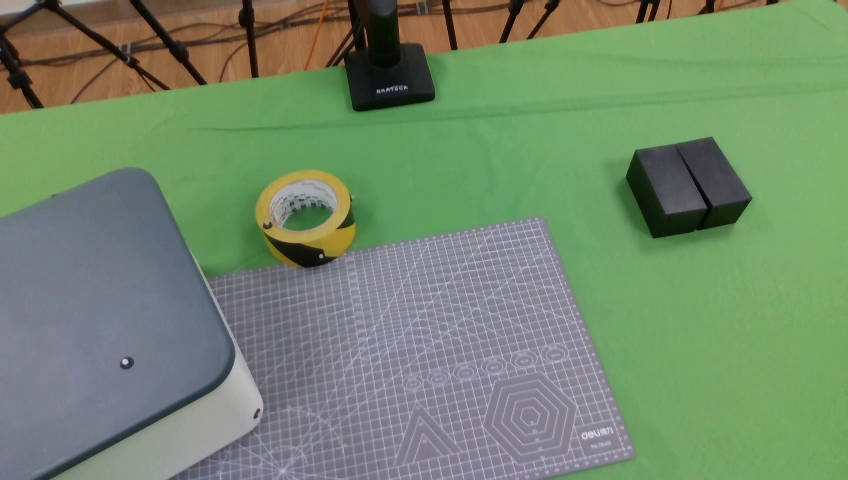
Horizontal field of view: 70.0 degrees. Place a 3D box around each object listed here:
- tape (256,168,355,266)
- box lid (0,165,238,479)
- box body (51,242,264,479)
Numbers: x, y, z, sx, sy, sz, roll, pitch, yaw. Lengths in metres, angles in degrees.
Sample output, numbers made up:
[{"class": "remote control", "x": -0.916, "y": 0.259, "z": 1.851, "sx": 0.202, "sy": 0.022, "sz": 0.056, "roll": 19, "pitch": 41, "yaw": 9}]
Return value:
[{"class": "tape", "x": -0.142, "y": -0.029, "z": 0.726, "sx": 0.117, "sy": 0.053, "sz": 0.115, "roll": -1, "pitch": 55, "yaw": 1}, {"class": "box lid", "x": -0.363, "y": 0.092, "z": 0.498, "sx": 0.372, "sy": 0.015, "sz": 0.260, "roll": -28, "pitch": 62, "yaw": -15}, {"class": "box body", "x": -0.363, "y": 0.133, "z": 0.561, "sx": 0.364, "sy": 0.162, "sz": 0.251, "roll": -28, "pitch": 61, "yaw": -15}]
